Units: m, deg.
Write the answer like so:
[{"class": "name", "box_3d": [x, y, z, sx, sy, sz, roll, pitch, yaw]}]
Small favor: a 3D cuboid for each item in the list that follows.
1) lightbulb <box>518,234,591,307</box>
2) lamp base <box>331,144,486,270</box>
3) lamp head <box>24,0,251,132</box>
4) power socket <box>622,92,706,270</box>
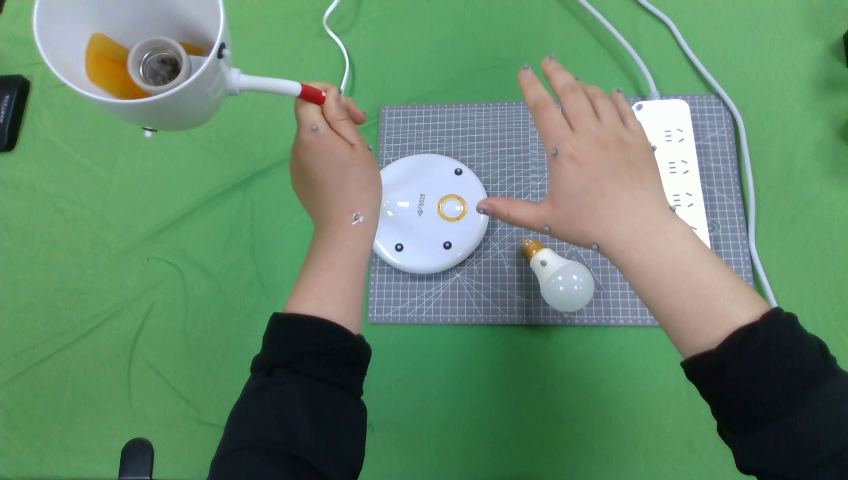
[{"class": "lightbulb", "box_3d": [0.146, 0.032, 0.702, 0.059, 0.060, 0.106, -37, 58, -5]}, {"class": "lamp base", "box_3d": [-0.025, -0.062, 0.682, 0.179, 0.181, 0.159, -7, 72, 8]}, {"class": "lamp head", "box_3d": [-0.183, -0.125, 0.419, 0.112, 0.123, 0.112, 0, 80, -1]}, {"class": "power socket", "box_3d": [0.286, -0.077, 0.728, 0.072, 0.033, 0.225, -2, 72, 5]}]
